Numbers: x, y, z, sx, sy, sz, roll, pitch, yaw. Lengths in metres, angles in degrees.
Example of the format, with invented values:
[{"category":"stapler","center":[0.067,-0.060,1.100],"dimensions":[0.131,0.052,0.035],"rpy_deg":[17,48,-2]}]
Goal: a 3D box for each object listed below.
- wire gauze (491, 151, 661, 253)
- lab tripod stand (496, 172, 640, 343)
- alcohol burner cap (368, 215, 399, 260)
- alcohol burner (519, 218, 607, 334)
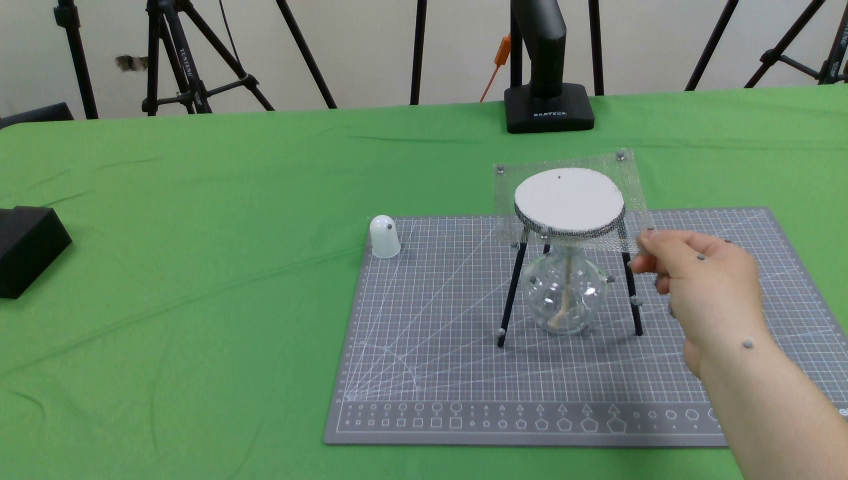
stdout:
[{"category":"wire gauze","center":[0.118,-0.033,0.493],"dimensions":[0.125,0.011,0.120],"rpy_deg":[-1,42,6]},{"category":"lab tripod stand","center":[0.126,0.018,0.538],"dimensions":[0.148,0.133,0.147],"rpy_deg":[-2,39,2]},{"category":"alcohol burner cap","center":[-0.045,-0.006,0.658],"dimensions":[0.034,0.048,0.033],"rpy_deg":[-3,41,3]},{"category":"alcohol burner","center":[0.126,0.028,0.542],"dimensions":[0.078,0.120,0.077],"rpy_deg":[-2,40,2]}]
